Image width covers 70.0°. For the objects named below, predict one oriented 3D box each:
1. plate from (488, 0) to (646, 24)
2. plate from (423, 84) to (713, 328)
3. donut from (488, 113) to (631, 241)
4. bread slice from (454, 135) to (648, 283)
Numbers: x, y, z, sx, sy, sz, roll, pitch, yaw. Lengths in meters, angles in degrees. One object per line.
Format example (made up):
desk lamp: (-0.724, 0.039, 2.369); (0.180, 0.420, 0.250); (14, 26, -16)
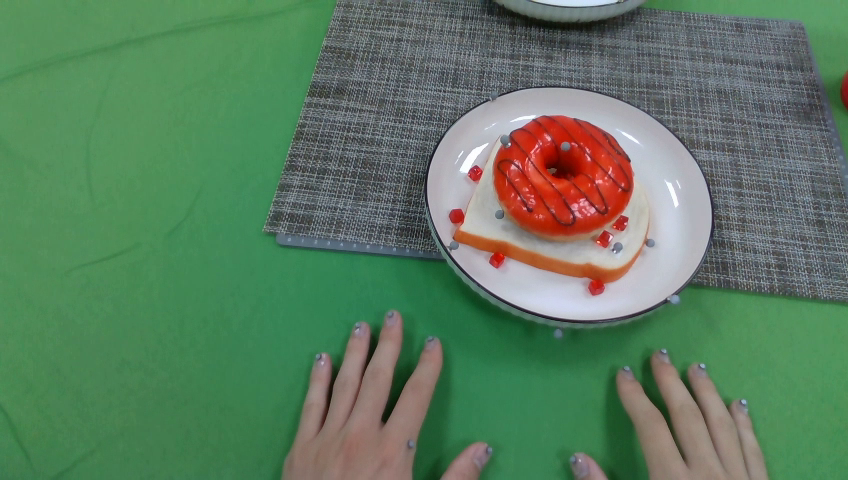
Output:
plate: (0.134, -0.280, 0.602); (0.208, 0.039, 0.205); (1, 58, -1)
plate: (0.103, -0.028, 0.452); (0.209, 0.038, 0.207); (0, 60, 0)
donut: (0.093, -0.044, 0.421); (0.099, 0.048, 0.098); (0, 60, 1)
bread slice: (0.100, -0.025, 0.453); (0.131, 0.019, 0.104); (17, 61, 11)
